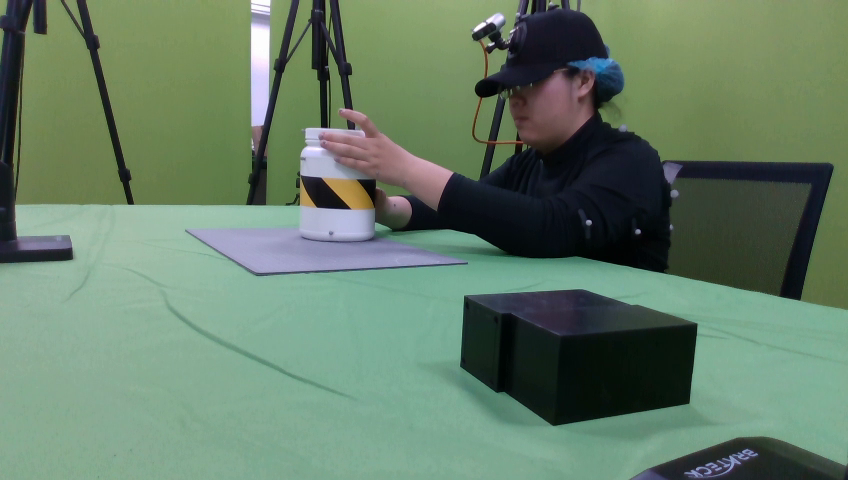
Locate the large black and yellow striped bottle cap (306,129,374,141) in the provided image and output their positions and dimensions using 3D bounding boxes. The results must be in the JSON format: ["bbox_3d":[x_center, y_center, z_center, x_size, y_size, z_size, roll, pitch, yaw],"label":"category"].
[{"bbox_3d":[-0.143,-0.178,1.027,0.115,0.019,0.115,1,7,0],"label":"large black and yellow striped bottle cap"}]

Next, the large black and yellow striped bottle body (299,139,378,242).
[{"bbox_3d":[-0.147,-0.095,1.040,0.131,0.184,0.130,3,8,0],"label":"large black and yellow striped bottle body"}]
